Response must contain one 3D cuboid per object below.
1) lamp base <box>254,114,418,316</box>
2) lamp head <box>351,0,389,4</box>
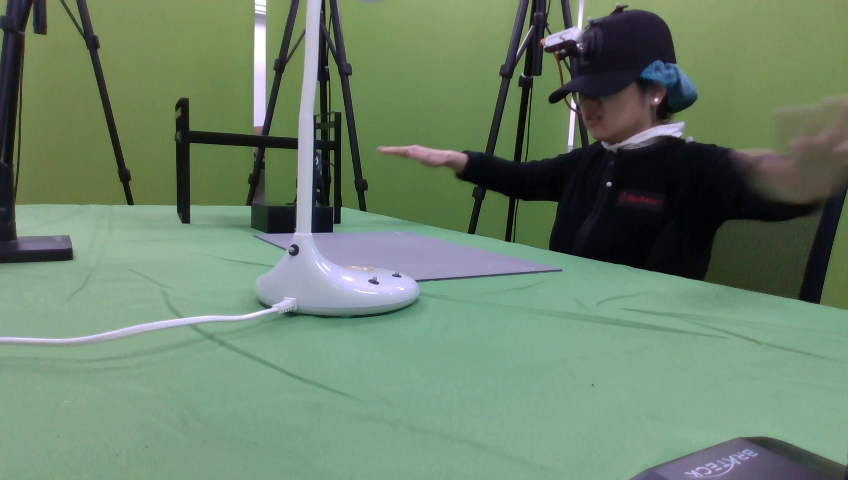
[{"bbox_3d":[-0.086,-0.027,0.577,0.160,0.180,0.179,4,10,16],"label":"lamp base"},{"bbox_3d":[-0.053,-0.313,0.597,0.112,0.112,0.123,6,-28,25],"label":"lamp head"}]
